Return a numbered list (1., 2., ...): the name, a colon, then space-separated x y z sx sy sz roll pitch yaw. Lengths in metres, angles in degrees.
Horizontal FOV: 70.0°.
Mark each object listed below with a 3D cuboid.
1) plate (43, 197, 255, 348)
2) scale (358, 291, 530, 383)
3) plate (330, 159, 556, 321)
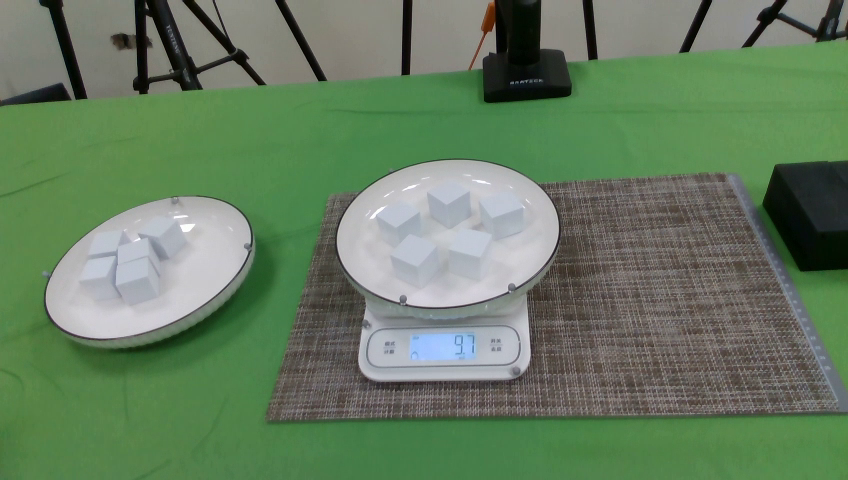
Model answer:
1. plate: -0.277 0.033 0.628 0.209 0.038 0.207 -4 42 4
2. scale: 0.021 0.043 0.570 0.148 0.032 0.199 -2 43 7
3. plate: 0.018 0.000 0.568 0.207 0.039 0.205 -4 43 4
